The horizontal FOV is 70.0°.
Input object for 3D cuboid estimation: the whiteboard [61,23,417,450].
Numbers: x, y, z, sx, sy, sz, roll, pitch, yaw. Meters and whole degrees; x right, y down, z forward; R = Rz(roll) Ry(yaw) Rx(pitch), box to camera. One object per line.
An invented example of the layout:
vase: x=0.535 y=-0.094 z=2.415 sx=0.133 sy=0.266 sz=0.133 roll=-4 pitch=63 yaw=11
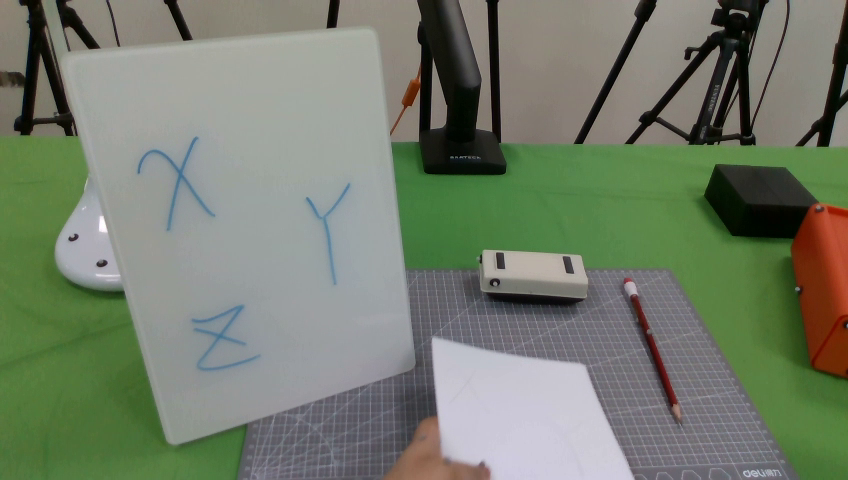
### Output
whiteboard: x=-0.145 y=-0.017 z=0.530 sx=0.218 sy=0.307 sz=0.142 roll=-13 pitch=20 yaw=-21

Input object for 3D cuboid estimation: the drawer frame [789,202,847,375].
drawer frame: x=0.506 y=0.063 z=0.628 sx=0.201 sy=0.083 sz=0.212 roll=14 pitch=37 yaw=14

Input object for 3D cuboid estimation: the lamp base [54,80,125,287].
lamp base: x=-0.328 y=-0.068 z=0.637 sx=0.178 sy=0.182 sz=0.160 roll=25 pitch=41 yaw=29

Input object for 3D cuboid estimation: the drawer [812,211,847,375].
drawer: x=0.506 y=0.066 z=0.626 sx=0.194 sy=0.074 sz=0.211 roll=14 pitch=37 yaw=15

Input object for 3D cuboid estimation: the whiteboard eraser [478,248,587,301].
whiteboard eraser: x=0.116 y=0.038 z=0.652 sx=0.113 sy=0.042 sz=0.055 roll=4 pitch=37 yaw=0

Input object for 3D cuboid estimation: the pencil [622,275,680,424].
pencil: x=0.226 y=0.101 z=0.606 sx=0.012 sy=0.012 sz=0.192 roll=3 pitch=38 yaw=-1

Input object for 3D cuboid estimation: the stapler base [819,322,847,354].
stapler base: x=0.468 y=0.106 z=0.598 sx=0.130 sy=0.024 sz=0.041 roll=17 pitch=37 yaw=19

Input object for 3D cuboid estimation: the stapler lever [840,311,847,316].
stapler lever: x=0.470 y=0.086 z=0.586 sx=0.117 sy=0.040 sz=0.027 roll=15 pitch=36 yaw=20
